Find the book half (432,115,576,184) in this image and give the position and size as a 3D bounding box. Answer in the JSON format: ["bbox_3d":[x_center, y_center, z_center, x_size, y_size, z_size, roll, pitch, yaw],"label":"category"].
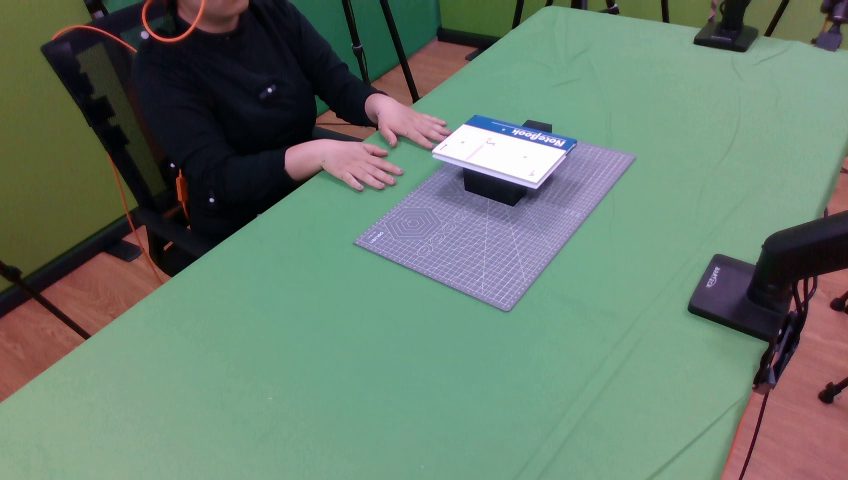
[{"bbox_3d":[0.138,-0.163,1.054,0.208,0.007,0.143,22,48,29],"label":"book half"}]

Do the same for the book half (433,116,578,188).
[{"bbox_3d":[0.140,-0.160,1.061,0.208,0.016,0.149,22,48,30],"label":"book half"}]
